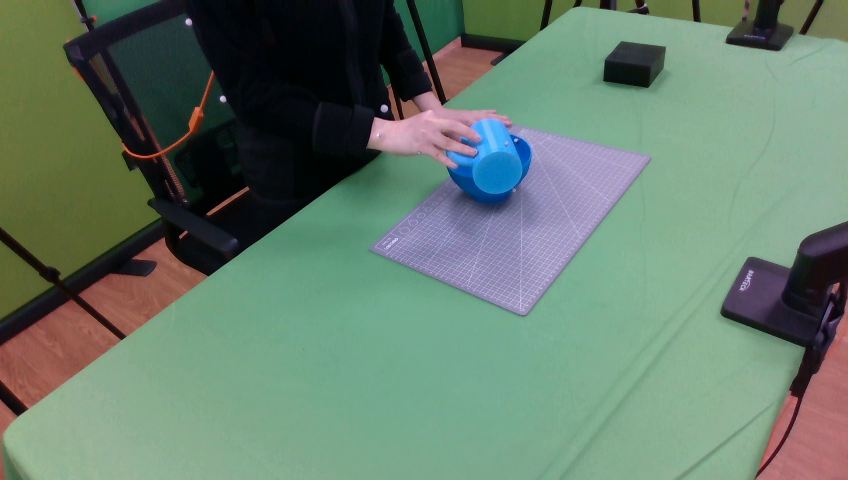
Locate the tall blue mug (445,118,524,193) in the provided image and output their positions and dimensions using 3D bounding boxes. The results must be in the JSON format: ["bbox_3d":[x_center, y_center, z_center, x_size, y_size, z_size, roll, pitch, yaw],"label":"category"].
[{"bbox_3d":[0.095,-0.140,0.944,0.077,0.108,0.107,-46,29,25],"label":"tall blue mug"}]

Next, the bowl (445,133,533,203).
[{"bbox_3d":[0.115,-0.118,1.056,0.151,0.077,0.150,-6,40,5],"label":"bowl"}]
